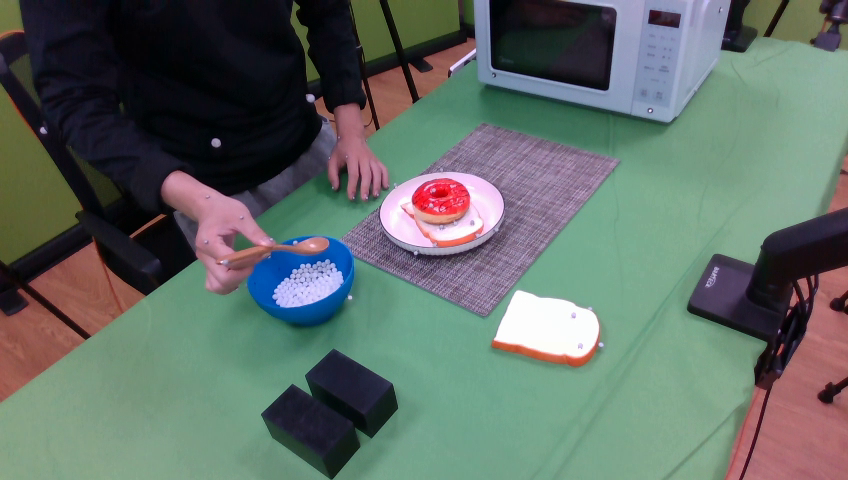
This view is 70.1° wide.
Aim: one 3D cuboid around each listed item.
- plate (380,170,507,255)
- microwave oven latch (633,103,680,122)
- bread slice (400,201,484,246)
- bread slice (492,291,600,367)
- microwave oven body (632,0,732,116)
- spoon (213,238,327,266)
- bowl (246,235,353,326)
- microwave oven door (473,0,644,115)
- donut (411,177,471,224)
[{"bbox_3d":[0.033,-0.042,0.995,0.207,0.039,0.206,-4,40,4],"label":"plate"},{"bbox_3d":[0.444,-0.249,1.157,0.078,0.029,0.030,21,49,30],"label":"microwave oven latch"},{"bbox_3d":[0.037,-0.038,0.990,0.107,0.018,0.133,-23,43,-17],"label":"bread slice"},{"bbox_3d":[0.169,0.118,0.811,0.131,0.019,0.105,11,44,21],"label":"bread slice"},{"bbox_3d":[0.377,-0.462,1.267,0.438,0.261,0.327,21,48,30],"label":"microwave oven body"},{"bbox_3d":[-0.188,0.013,0.754,0.041,0.021,0.195,15,10,26],"label":"spoon"},{"bbox_3d":[-0.170,0.070,0.868,0.151,0.077,0.150,-4,41,4],"label":"bowl"},{"bbox_3d":[0.257,-0.396,1.199,0.353,0.245,0.039,21,48,29],"label":"microwave oven door"},{"bbox_3d":[0.028,-0.064,0.978,0.099,0.048,0.098,-4,39,4],"label":"donut"}]
